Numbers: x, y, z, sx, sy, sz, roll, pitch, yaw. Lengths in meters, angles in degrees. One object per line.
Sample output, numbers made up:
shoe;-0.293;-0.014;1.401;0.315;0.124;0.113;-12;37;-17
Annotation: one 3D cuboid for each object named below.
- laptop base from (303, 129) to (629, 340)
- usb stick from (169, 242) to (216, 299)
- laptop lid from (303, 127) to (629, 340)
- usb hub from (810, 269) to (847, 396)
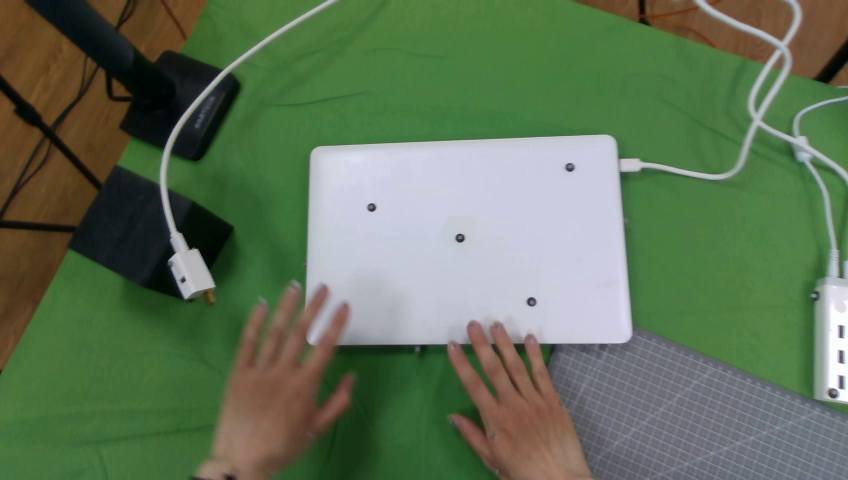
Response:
laptop base;0.042;-0.007;0.683;0.354;0.023;0.234;-2;79;6
usb stick;-0.229;0.033;0.606;0.021;0.027;0.059;-32;84;35
laptop lid;0.040;-0.008;0.671;0.356;0.013;0.240;0;79;6
usb hub;0.424;0.094;0.616;0.049;0.025;0.124;7;78;8
